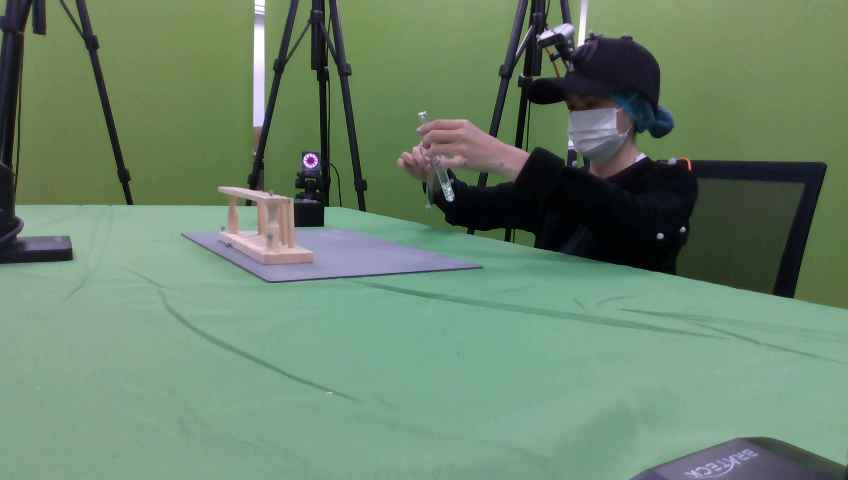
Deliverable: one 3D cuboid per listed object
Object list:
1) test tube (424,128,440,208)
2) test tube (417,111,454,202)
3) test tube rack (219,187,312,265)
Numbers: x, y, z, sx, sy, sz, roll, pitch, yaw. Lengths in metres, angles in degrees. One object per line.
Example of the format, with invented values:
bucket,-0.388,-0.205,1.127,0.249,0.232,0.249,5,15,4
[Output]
test tube,0.014,-0.130,1.111,0.017,0.150,0.017,5,21,-2
test tube,0.019,-0.131,0.954,0.017,0.150,0.017,-18,14,5
test tube rack,-0.235,-0.027,0.872,0.067,0.085,0.241,-2,8,-31
